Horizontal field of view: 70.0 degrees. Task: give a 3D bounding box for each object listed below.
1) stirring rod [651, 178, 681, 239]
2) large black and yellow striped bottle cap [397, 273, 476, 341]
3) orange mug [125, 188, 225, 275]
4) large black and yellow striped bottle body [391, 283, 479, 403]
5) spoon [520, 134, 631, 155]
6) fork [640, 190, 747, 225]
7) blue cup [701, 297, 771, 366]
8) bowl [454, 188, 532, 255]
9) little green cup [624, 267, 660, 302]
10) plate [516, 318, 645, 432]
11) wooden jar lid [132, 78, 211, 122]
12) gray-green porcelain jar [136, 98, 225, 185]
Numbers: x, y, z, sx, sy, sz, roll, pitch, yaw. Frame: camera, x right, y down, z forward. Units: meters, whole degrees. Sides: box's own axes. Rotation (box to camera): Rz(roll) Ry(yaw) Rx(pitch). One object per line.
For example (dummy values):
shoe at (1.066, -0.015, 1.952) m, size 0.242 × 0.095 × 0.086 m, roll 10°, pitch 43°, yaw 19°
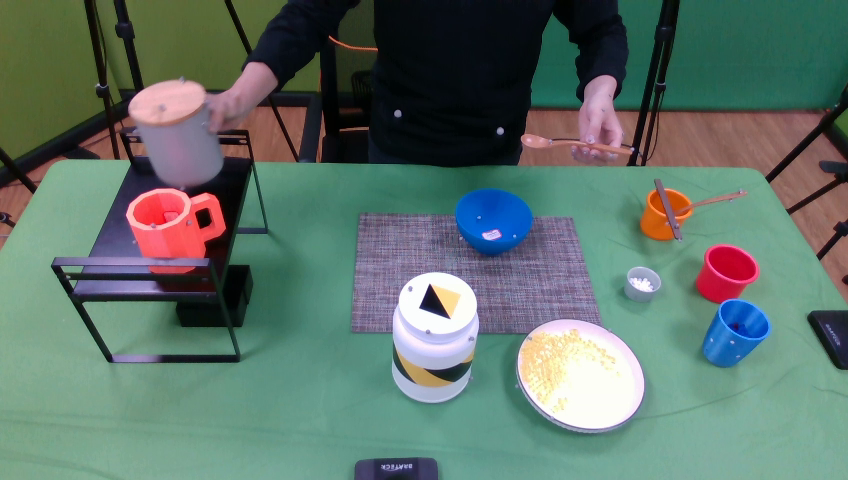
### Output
stirring rod at (0.479, -0.065, 1.204) m, size 0.014 × 0.006 × 0.175 m, roll 3°, pitch 46°, yaw -4°
large black and yellow striped bottle cap at (0.018, 0.094, 0.878) m, size 0.115 × 0.019 × 0.114 m, roll 3°, pitch 46°, yaw -3°
orange mug at (-0.357, -0.020, 0.884) m, size 0.126 × 0.101 × 0.083 m, roll -29°, pitch 54°, yaw -23°
large black and yellow striped bottle body at (0.015, 0.153, 0.938) m, size 0.131 × 0.185 × 0.130 m, roll 2°, pitch 46°, yaw -2°
spoon at (0.244, -0.156, 0.992) m, size 0.193 × 0.022 × 0.041 m, roll 12°, pitch 34°, yaw 38°
fork at (0.533, -0.064, 1.211) m, size 0.207 × 0.019 × 0.028 m, roll -22°, pitch 28°, yaw 39°
blue cup at (0.519, 0.162, 1.025) m, size 0.093 × 0.101 × 0.092 m, roll 3°, pitch 45°, yaw -3°
bowl at (0.131, -0.025, 1.186) m, size 0.151 × 0.077 × 0.150 m, roll 2°, pitch 46°, yaw -2°
little green cup at (0.406, 0.084, 1.135) m, size 0.061 × 0.039 × 0.061 m, roll 3°, pitch 45°, yaw -3°
plate at (0.253, 0.221, 0.992) m, size 0.209 × 0.038 × 0.208 m, roll 2°, pitch 46°, yaw -2°
wooden jar lid at (-0.366, -0.200, 0.884) m, size 0.108 × 0.021 × 0.107 m, roll 1°, pitch 46°, yaw -1°
gray-green porcelain jar at (-0.367, -0.156, 0.927) m, size 0.106 × 0.127 × 0.105 m, roll 1°, pitch 45°, yaw -1°
